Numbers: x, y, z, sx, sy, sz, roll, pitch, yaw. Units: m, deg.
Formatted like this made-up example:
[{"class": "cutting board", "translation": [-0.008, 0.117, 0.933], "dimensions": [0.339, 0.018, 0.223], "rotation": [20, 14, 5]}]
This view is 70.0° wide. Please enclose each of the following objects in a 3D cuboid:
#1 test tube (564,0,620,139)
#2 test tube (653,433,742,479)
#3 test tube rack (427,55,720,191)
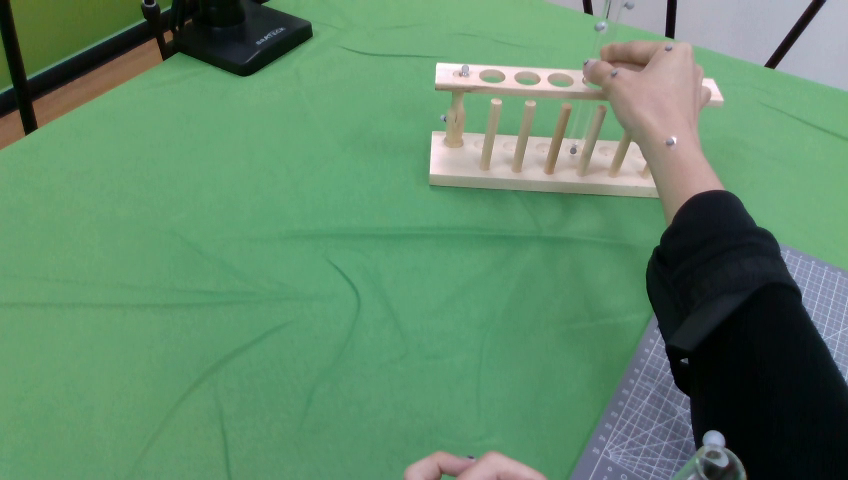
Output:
[{"class": "test tube", "translation": [0.142, -0.151, 0.507], "dimensions": [0.017, 0.151, 0.017], "rotation": [4, 40, -3]}, {"class": "test tube", "translation": [0.079, 0.115, 0.234], "dimensions": [0.017, 0.151, 0.017], "rotation": [5, 46, -5]}, {"class": "test tube rack", "translation": [0.126, -0.102, 0.535], "dimensions": [0.242, 0.086, 0.066], "rotation": [3, 47, -1]}]
